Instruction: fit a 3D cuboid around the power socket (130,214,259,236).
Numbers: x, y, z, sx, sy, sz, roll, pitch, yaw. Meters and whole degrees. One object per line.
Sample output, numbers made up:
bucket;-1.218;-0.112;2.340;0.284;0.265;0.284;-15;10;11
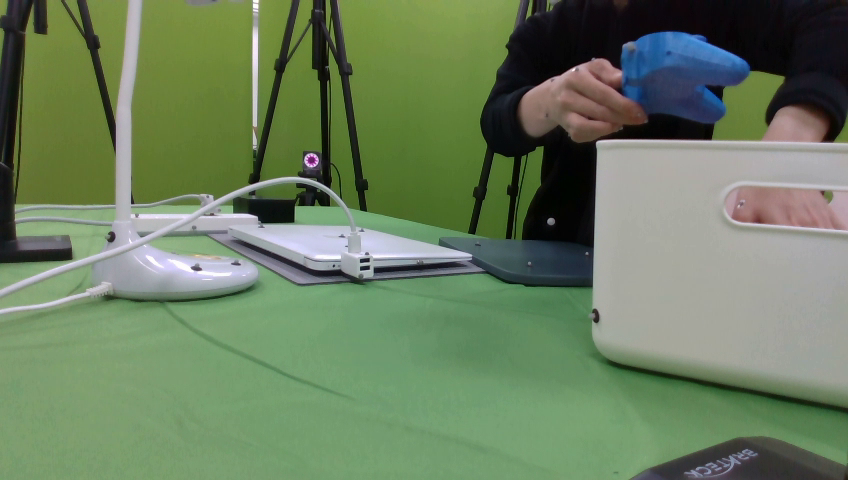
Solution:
power socket;-0.397;-0.028;1.048;0.228;0.032;0.072;-3;7;-35

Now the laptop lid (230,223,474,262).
laptop lid;-0.121;0.000;0.888;0.243;0.013;0.355;1;7;-33

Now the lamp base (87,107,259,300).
lamp base;-0.254;-0.039;0.603;0.160;0.180;0.179;5;10;18

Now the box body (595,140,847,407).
box body;0.309;0.007;0.509;0.253;0.160;0.366;6;8;29

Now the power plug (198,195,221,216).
power plug;-0.386;-0.055;1.088;0.035;0.052;0.072;-2;7;-24

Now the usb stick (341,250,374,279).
usb stick;-0.078;0.026;0.686;0.021;0.027;0.059;-8;8;-30

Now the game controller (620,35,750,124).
game controller;0.225;-0.143;0.536;0.097;0.051;0.156;4;-1;19

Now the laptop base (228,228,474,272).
laptop base;-0.123;0.012;0.889;0.237;0.023;0.352;2;6;-35

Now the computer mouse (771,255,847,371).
computer mouse;0.345;0.057;0.519;0.063;0.041;0.117;11;47;4

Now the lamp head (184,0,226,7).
lamp head;-0.229;-0.320;0.627;0.112;0.112;0.123;6;-35;26

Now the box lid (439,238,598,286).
box lid;0.188;0.029;0.900;0.264;0.015;0.370;2;7;-14
